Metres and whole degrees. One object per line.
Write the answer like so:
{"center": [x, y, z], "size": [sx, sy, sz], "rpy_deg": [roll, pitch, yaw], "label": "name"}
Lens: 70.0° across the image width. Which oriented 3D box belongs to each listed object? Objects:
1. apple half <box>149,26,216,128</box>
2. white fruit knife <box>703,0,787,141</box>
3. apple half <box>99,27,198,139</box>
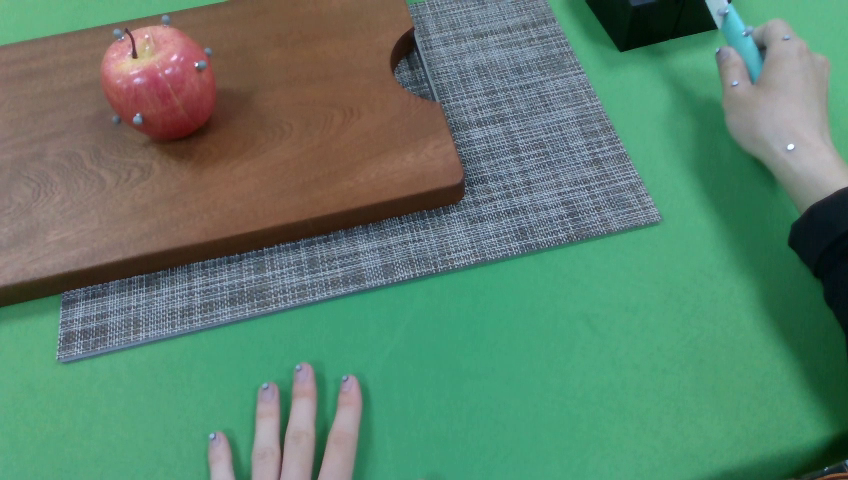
{"center": [-0.181, -0.130, 0.475], "size": [0.033, 0.082, 0.080], "rpy_deg": [-24, 61, -7], "label": "apple half"}
{"center": [0.244, -0.178, 0.490], "size": [0.016, 0.027, 0.206], "rpy_deg": [-19, 80, -8], "label": "white fruit knife"}
{"center": [-0.216, -0.115, 0.469], "size": [0.053, 0.075, 0.080], "rpy_deg": [-24, 64, -6], "label": "apple half"}
